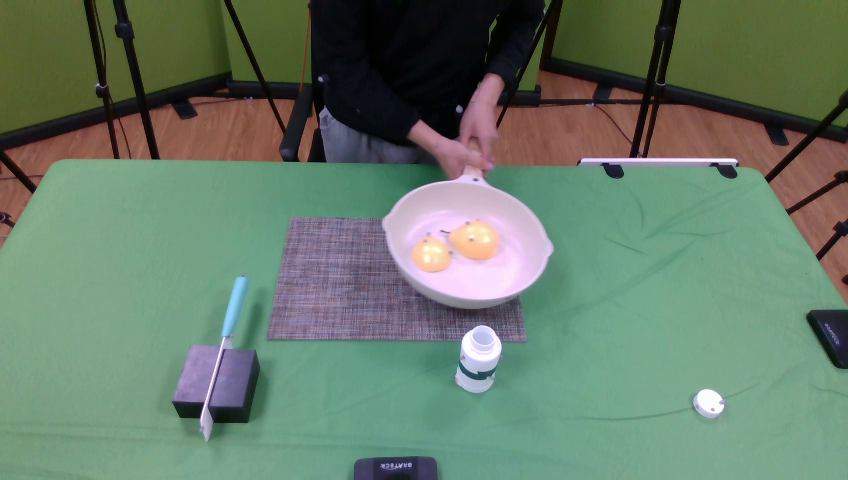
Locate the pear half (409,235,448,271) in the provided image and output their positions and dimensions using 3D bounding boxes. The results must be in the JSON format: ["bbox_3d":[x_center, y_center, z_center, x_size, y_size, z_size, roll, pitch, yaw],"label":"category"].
[{"bbox_3d":[0.010,0.017,1.105,0.070,0.031,0.087,0,50,-16],"label":"pear half"}]

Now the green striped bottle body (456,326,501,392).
[{"bbox_3d":[0.086,0.185,0.959,0.063,0.120,0.063,2,47,-2],"label":"green striped bottle body"}]

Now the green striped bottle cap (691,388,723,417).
[{"bbox_3d":[0.460,0.263,0.984,0.044,0.020,0.044,3,47,-3],"label":"green striped bottle cap"}]

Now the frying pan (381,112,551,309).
[{"bbox_3d":[0.084,-0.074,1.156,0.307,0.103,0.485,10,55,-2],"label":"frying pan"}]

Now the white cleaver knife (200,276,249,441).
[{"bbox_3d":[-0.321,0.177,0.971,0.021,0.066,0.284,6,48,-4],"label":"white cleaver knife"}]

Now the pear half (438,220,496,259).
[{"bbox_3d":[0.079,-0.012,1.130,0.110,0.056,0.076,16,41,8],"label":"pear half"}]
